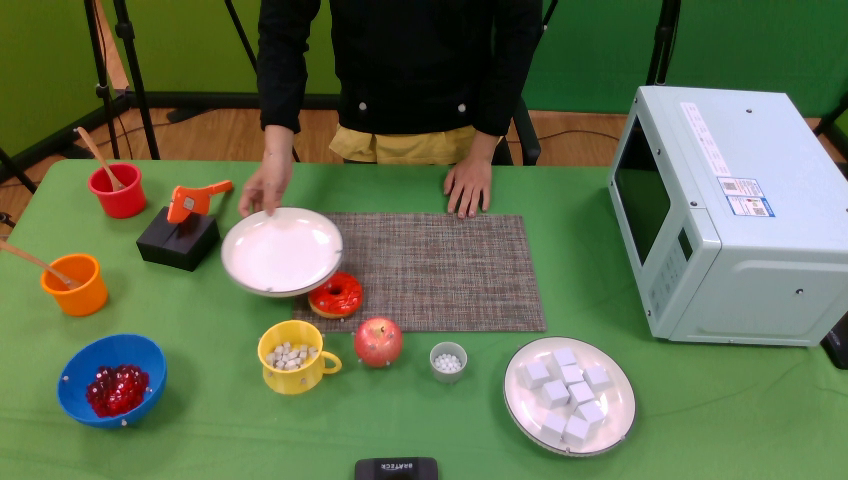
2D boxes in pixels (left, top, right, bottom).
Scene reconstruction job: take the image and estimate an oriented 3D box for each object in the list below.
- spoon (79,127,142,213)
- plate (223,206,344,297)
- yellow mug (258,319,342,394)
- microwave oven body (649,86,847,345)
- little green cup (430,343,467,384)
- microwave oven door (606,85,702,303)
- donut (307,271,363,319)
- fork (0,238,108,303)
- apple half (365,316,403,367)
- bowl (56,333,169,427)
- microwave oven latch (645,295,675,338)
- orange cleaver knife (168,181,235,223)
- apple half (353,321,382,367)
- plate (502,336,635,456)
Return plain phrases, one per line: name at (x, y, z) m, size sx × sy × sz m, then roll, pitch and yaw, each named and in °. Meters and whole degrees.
spoon at (-0.624, -0.139, 1.203) m, size 0.041 × 0.021 × 0.194 m, roll -33°, pitch 100°, yaw -26°
plate at (-0.245, 0.022, 1.070) m, size 0.209 × 0.038 × 0.208 m, roll 3°, pitch 46°, yaw -3°
yellow mug at (-0.195, 0.188, 0.972) m, size 0.131 × 0.064 × 0.099 m, roll 9°, pitch 46°, yaw 4°
microwave oven body at (0.567, -0.053, 1.118) m, size 0.326 × 0.261 × 0.439 m, roll 2°, pitch 45°, yaw -1°
little green cup at (0.039, 0.203, 0.994) m, size 0.061 × 0.039 × 0.061 m, roll 2°, pitch 46°, yaw -2°
microwave oven door at (0.423, -0.094, 1.140) m, size 0.039 × 0.245 × 0.353 m, roll 2°, pitch 46°, yaw -1°
donut at (-0.157, 0.097, 1.072) m, size 0.099 × 0.048 × 0.098 m, roll 4°, pitch 45°, yaw -3°
fork at (-0.633, 0.048, 1.017) m, size 0.208 × 0.018 × 0.028 m, roll 40°, pitch 41°, yaw -27°
apple half at (-0.063, 0.165, 1.000) m, size 0.053 × 0.075 × 0.080 m, roll -16°, pitch 45°, yaw -24°
bowl at (-0.456, 0.223, 0.912) m, size 0.151 × 0.077 × 0.150 m, roll 3°, pitch 46°, yaw -2°
microwave oven latch at (0.412, 0.134, 1.061) m, size 0.030 × 0.029 × 0.078 m, roll 3°, pitch 45°, yaw 0°
orange cleaver knife at (-0.436, -0.077, 1.196) m, size 0.012 × 0.077 × 0.211 m, roll 16°, pitch 15°, yaw 10°
apple half at (-0.098, 0.177, 0.984) m, size 0.033 × 0.081 × 0.081 m, roll -17°, pitch 49°, yaw -25°
plate at (0.225, 0.248, 0.963) m, size 0.208 × 0.039 × 0.206 m, roll 2°, pitch 46°, yaw -2°
